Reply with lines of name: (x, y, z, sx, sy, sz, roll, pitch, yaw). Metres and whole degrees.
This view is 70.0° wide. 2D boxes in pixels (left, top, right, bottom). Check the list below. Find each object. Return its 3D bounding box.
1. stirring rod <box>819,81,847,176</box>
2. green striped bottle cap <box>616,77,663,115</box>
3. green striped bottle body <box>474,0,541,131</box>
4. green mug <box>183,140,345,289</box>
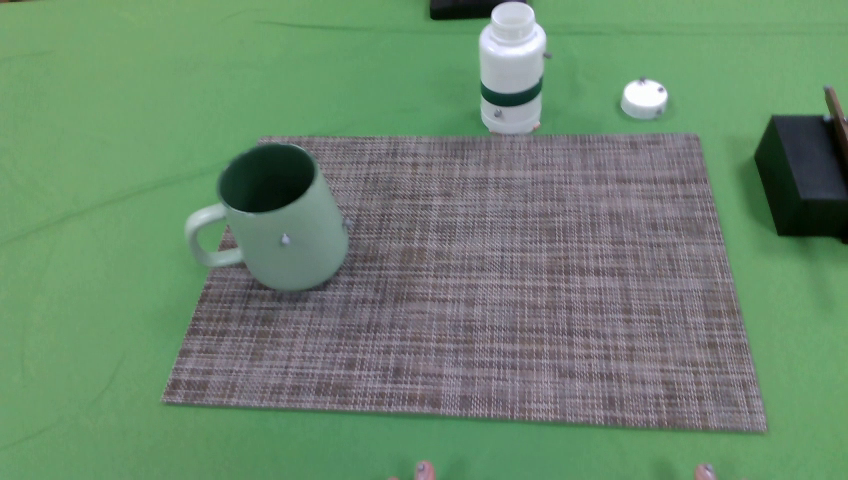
stirring rod: (0.344, -0.069, 0.491, 0.006, 0.014, 0.174, 1, 53, 13)
green striped bottle cap: (0.223, -0.149, 0.626, 0.044, 0.020, 0.044, -2, 49, 3)
green striped bottle body: (0.081, -0.171, 0.594, 0.063, 0.120, 0.062, -3, 53, 5)
green mug: (-0.134, -0.013, 0.505, 0.125, 0.106, 0.091, -21, 54, -9)
